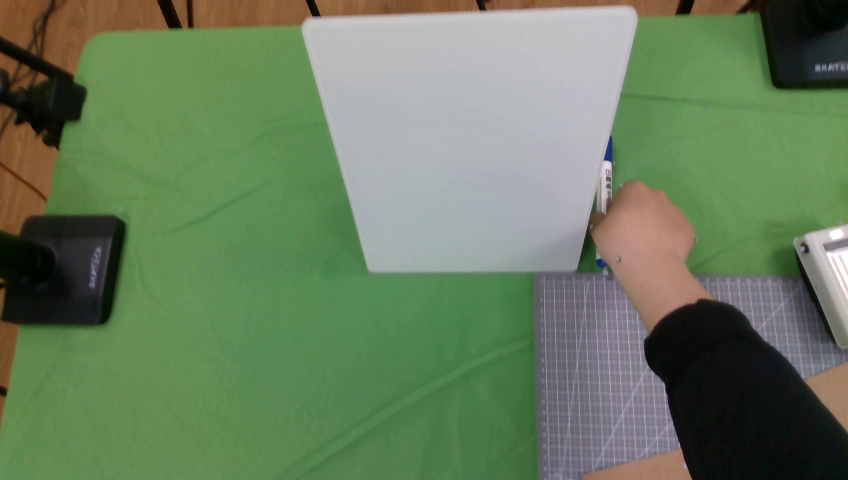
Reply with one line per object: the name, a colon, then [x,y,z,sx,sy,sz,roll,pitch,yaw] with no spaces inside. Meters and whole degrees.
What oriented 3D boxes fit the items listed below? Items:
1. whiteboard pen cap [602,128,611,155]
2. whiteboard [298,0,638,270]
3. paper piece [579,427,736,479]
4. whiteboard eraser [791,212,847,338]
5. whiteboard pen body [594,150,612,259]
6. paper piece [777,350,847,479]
whiteboard pen cap: [0.190,-0.105,0.640,0.018,0.018,0.033,1,71,5]
whiteboard: [0.040,-0.116,0.539,0.217,0.308,0.142,0,55,5]
paper piece: [0.224,0.252,0.544,0.135,0.004,0.135,-14,74,0]
whiteboard eraser: [0.397,0.033,0.574,0.055,0.042,0.112,-15,73,1]
whiteboard pen body: [0.186,-0.048,0.629,0.017,0.017,0.140,4,69,6]
paper piece: [0.418,0.166,0.554,0.136,0.009,0.137,-22,76,2]
